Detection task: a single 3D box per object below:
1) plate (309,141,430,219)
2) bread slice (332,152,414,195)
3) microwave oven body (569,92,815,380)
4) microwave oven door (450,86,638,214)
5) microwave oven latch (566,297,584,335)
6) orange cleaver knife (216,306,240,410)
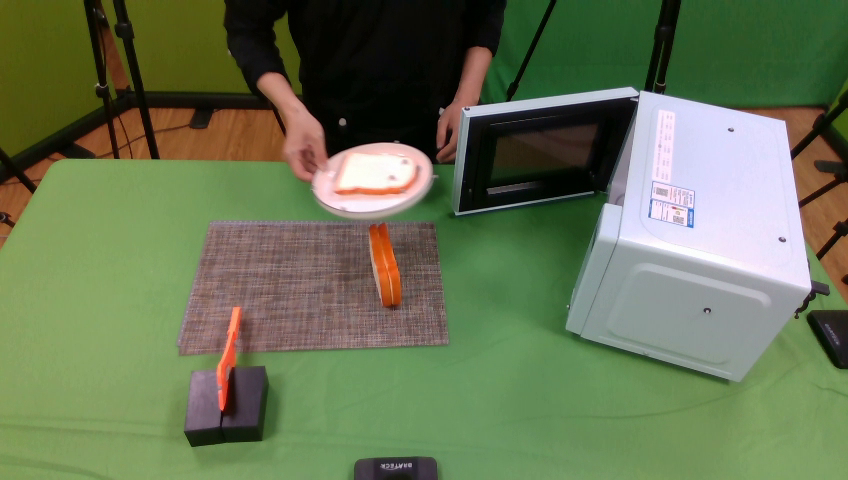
[{"bbox_3d":[-0.091,-0.100,1.043,0.207,0.039,0.206,-4,41,4],"label":"plate"},{"bbox_3d":[-0.084,-0.117,1.058,0.134,0.018,0.106,0,44,6],"label":"bread slice"},{"bbox_3d":[0.468,-0.022,1.082,0.325,0.261,0.440,15,46,11],"label":"microwave oven body"},{"bbox_3d":[0.234,-0.177,1.208,0.356,0.245,0.039,-10,48,-13],"label":"microwave oven door"},{"bbox_3d":[0.268,0.126,1.059,0.030,0.029,0.079,16,46,12],"label":"microwave oven latch"},{"bbox_3d":[-0.307,0.180,0.957,0.012,0.077,0.210,-2,25,-8],"label":"orange cleaver knife"}]
